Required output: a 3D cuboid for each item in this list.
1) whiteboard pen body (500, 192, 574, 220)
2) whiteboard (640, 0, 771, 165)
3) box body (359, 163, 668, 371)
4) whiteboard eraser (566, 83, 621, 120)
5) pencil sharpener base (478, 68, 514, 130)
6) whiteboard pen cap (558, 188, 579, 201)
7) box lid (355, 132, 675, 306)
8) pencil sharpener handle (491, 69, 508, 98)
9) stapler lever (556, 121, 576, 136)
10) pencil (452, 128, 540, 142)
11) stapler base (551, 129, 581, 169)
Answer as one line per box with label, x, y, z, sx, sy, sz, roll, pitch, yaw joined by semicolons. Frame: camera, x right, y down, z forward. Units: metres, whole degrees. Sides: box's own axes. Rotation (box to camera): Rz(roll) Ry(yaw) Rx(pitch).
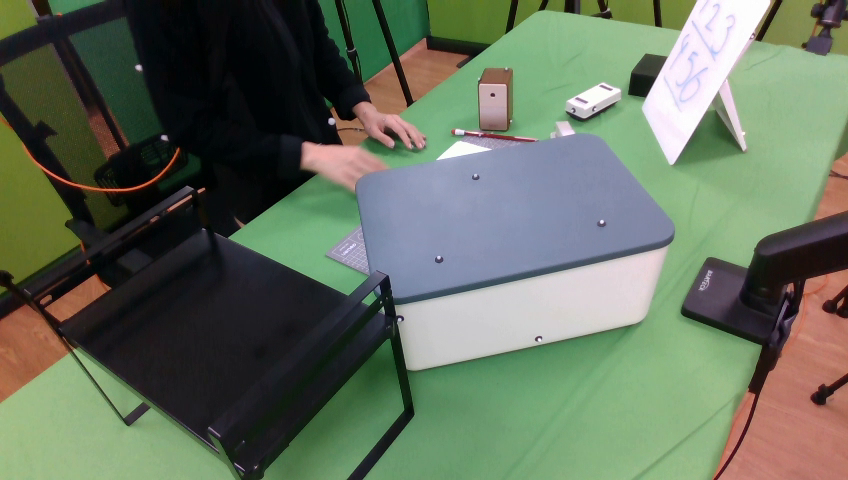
whiteboard pen body;0.191;-0.059;1.011;0.141;0.017;0.017;-18;41;-16
whiteboard;0.543;-0.299;1.076;0.144;0.305;0.216;12;40;-7
box body;0.108;0.014;0.833;0.365;0.161;0.252;-11;41;-5
whiteboard eraser;0.348;-0.283;1.242;0.113;0.042;0.055;-30;43;-24
pencil sharpener base;0.148;-0.286;1.224;0.061;0.107;0.076;5;41;15
whiteboard pen cap;0.245;-0.077;1.028;0.033;0.018;0.018;-18;42;-15
box lid;0.103;-0.042;0.785;0.372;0.015;0.261;-12;41;-5
pencil sharpener handle;0.155;-0.329;1.254;0.036;0.068;0.030;17;43;3
stapler lever;0.266;-0.198;1.128;0.027;0.040;0.117;0;38;3
pencil;0.147;-0.207;1.205;0.193;0.012;0.012;10;43;19
stapler base;0.268;-0.178;1.142;0.041;0.024;0.130;1;37;3
